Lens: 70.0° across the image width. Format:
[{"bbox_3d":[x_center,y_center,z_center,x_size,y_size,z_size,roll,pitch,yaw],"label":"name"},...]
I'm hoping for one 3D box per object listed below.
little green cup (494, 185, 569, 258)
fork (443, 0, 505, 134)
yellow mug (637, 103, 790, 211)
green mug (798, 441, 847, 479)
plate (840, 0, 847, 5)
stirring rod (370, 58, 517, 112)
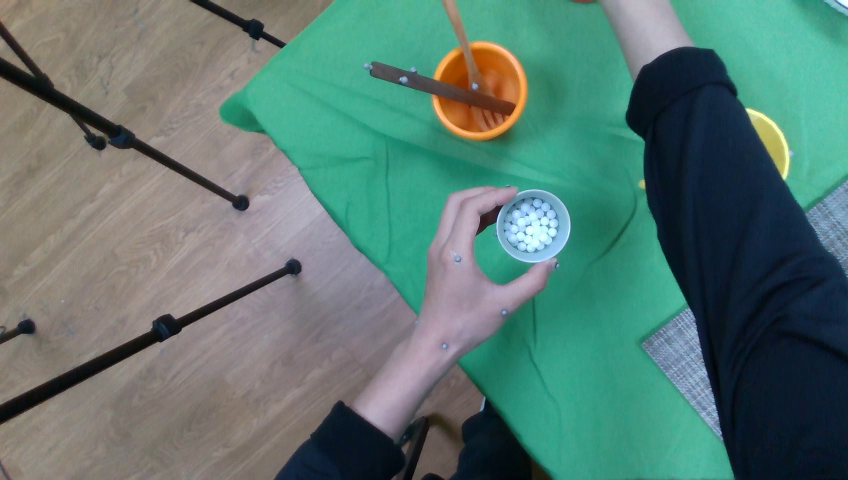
[{"bbox_3d":[0.090,-0.016,0.517,0.061,0.038,0.061,0,95,4],"label":"little green cup"},{"bbox_3d":[0.038,-0.186,0.571,0.028,0.018,0.209,-25,134,4],"label":"fork"},{"bbox_3d":[0.277,-0.075,0.596,0.131,0.064,0.100,-15,92,8],"label":"yellow mug"},{"bbox_3d":[0.440,0.244,0.576,0.125,0.105,0.092,-24,90,7],"label":"green mug"},{"bbox_3d":[0.458,-0.314,0.575,0.207,0.039,0.207,0,94,6],"label":"plate"},{"bbox_3d":[0.025,-0.146,0.581,0.177,0.005,0.014,5,96,-36],"label":"stirring rod"}]
